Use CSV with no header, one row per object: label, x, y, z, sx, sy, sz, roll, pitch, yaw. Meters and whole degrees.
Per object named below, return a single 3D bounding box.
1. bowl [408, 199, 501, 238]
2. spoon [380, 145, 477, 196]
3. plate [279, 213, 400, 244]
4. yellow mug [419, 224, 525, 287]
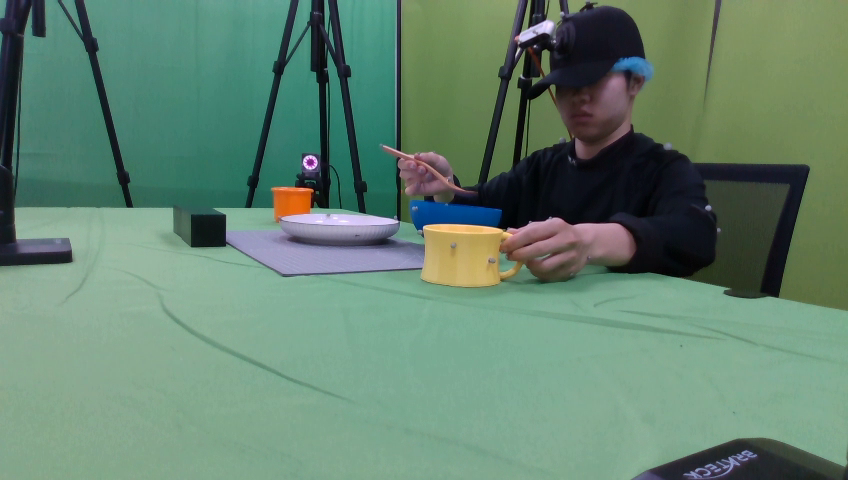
bowl,0.045,-0.018,0.967,0.151,0.077,0.151,7,5,0
spoon,0.005,-0.119,1.024,0.193,0.021,0.042,33,13,18
plate,-0.147,-0.020,1.060,0.209,0.038,0.209,3,7,0
yellow mug,0.060,0.018,0.746,0.131,0.064,0.100,2,7,-7
